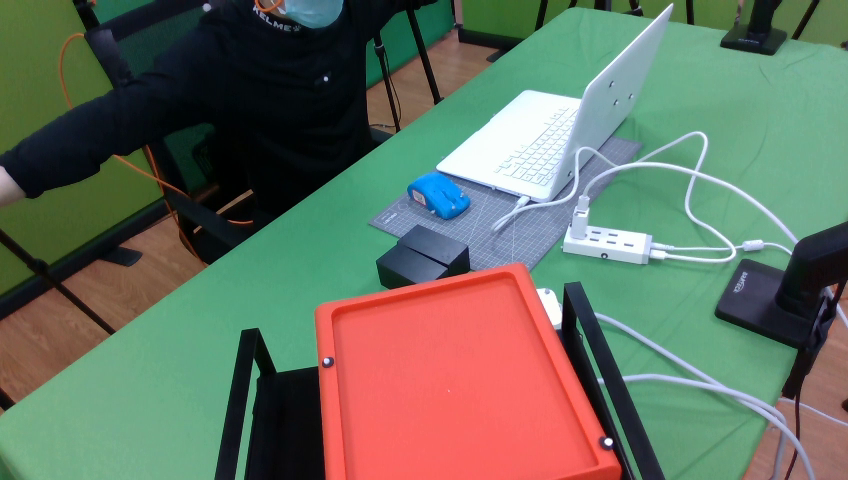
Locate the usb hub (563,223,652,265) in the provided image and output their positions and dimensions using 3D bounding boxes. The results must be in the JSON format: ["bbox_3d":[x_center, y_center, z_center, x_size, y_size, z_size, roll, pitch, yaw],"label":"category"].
[{"bbox_3d":[0.281,0.005,0.924,0.124,0.025,0.049,10,43,19],"label":"usb hub"}]

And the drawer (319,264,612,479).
[{"bbox_3d":[0.020,0.129,0.497,0.195,0.073,0.210,-11,41,-5],"label":"drawer"}]

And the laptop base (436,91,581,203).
[{"bbox_3d":[0.215,-0.192,1.172,0.233,0.023,0.355,19,46,32],"label":"laptop base"}]

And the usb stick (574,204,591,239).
[{"bbox_3d":[0.240,-0.023,0.914,0.021,0.059,0.027,-3,34,19],"label":"usb stick"}]

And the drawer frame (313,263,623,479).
[{"bbox_3d":[0.021,0.130,0.493,0.202,0.083,0.212,-11,41,-6],"label":"drawer frame"}]

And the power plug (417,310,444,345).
[{"bbox_3d":[0.007,0.122,0.785,0.035,0.053,0.072,1,39,7],"label":"power plug"}]

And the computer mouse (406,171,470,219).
[{"bbox_3d":[0.024,-0.082,1.049,0.063,0.041,0.116,-30,50,-27],"label":"computer mouse"}]

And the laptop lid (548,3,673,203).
[{"bbox_3d":[0.320,-0.235,1.026,0.013,0.242,0.357,31,50,20],"label":"laptop lid"}]

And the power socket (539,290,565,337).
[{"bbox_3d":[0.081,0.112,0.822,0.227,0.033,0.072,-6,41,0],"label":"power socket"}]
